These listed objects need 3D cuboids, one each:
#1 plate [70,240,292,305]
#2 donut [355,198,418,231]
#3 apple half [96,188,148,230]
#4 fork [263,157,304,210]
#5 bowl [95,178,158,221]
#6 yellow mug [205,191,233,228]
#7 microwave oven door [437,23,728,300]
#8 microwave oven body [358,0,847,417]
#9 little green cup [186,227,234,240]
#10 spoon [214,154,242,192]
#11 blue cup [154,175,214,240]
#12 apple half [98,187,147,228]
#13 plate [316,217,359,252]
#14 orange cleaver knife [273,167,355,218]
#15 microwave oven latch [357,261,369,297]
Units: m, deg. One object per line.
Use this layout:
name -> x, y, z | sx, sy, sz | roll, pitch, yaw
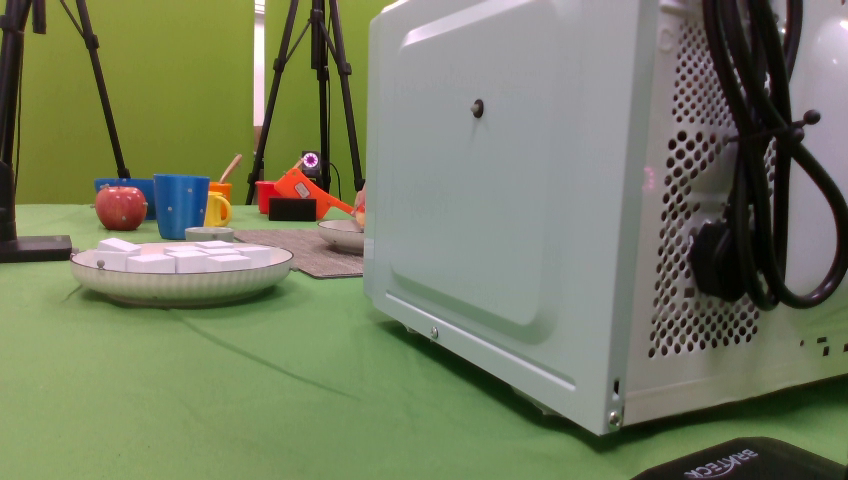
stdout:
plate -> -0.242, 0.031, 0.618 | 0.208, 0.039, 0.207 | 2, 8, 0
donut -> -0.058, -0.039, 0.937 | 0.099, 0.048, 0.099 | 1, 8, 0
apple half -> -0.517, -0.052, 1.036 | 0.081, 0.074, 0.053 | 3, 10, -26
fork -> -0.345, -0.143, 1.505 | 0.028, 0.019, 0.207 | -5, 46, 29
bowl -> -0.576, -0.081, 1.217 | 0.151, 0.077, 0.151 | 3, 8, 0
yellow mug -> -0.415, -0.057, 1.132 | 0.130, 0.064, 0.100 | 6, 8, 16
microwave oven door -> 0.181, -0.072, 0.621 | 0.358, 0.243, 0.039 | -2, 8, -29
microwave oven body -> 0.211, -0.047, 0.474 | 0.444, 0.260, 0.324 | -1, 7, -28
little green cup -> -0.284, 0.005, 0.805 | 0.061, 0.038, 0.061 | 2, 8, 0
spoon -> -0.439, -0.124, 1.317 | 0.041, 0.193, 0.022 | 5, -36, 16
blue cup -> -0.390, -0.053, 0.978 | 0.093, 0.100, 0.092 | 3, 6, 0
apple half -> -0.534, -0.059, 1.071 | 0.082, 0.081, 0.032 | -1, 12, -25
plate -> -0.064, -0.007, 0.944 | 0.209, 0.038, 0.209 | 3, 7, 0
orange cleaver knife -> -0.238, -0.091, 1.381 | 0.212, 0.077, 0.012 | 31, 0, -19
microwave oven latch -> -0.019, 0.033, 0.531 | 0.079, 0.029, 0.030 | -1, 7, -27
